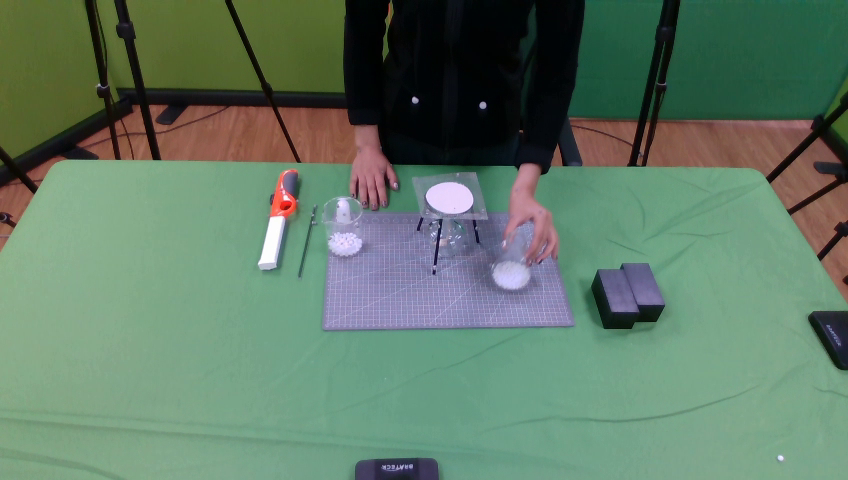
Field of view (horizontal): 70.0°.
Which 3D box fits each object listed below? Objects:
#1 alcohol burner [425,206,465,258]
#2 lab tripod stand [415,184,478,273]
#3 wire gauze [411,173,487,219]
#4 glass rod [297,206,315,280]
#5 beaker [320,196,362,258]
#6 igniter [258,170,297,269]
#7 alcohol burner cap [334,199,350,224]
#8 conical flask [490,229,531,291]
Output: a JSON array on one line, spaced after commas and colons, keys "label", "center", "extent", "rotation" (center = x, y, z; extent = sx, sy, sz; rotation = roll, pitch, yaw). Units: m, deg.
[{"label": "alcohol burner", "center": [0.041, -0.023, 1.158], "extent": [0.078, 0.119, 0.077], "rotation": [3, 47, -3]}, {"label": "lab tripod stand", "center": [0.041, -0.031, 1.152], "extent": [0.148, 0.132, 0.147], "rotation": [3, 44, -3]}, {"label": "wire gauze", "center": [0.044, -0.080, 1.106], "extent": [0.125, 0.011, 0.120], "rotation": [-3, 46, -7]}, {"label": "glass rod", "center": [-0.232, 0.001, 1.192], "extent": [0.008, 0.008, 0.198], "rotation": [3, 46, -1]}, {"label": "beaker", "center": [-0.156, -0.021, 1.150], "extent": [0.084, 0.101, 0.073], "rotation": [-30, 55, -28]}, {"label": "igniter", "center": [-0.294, -0.049, 1.221], "extent": [0.057, 0.025, 0.274], "rotation": [-5, 45, 4]}, {"label": "alcohol burner cap", "center": [-0.168, -0.061, 1.227], "extent": [0.034, 0.048, 0.033], "rotation": [2, 46, -2]}, {"label": "conical flask", "center": [0.160, 0.032, 1.086], "extent": [0.075, 0.122, 0.075], "rotation": [0, 55, 1]}]
